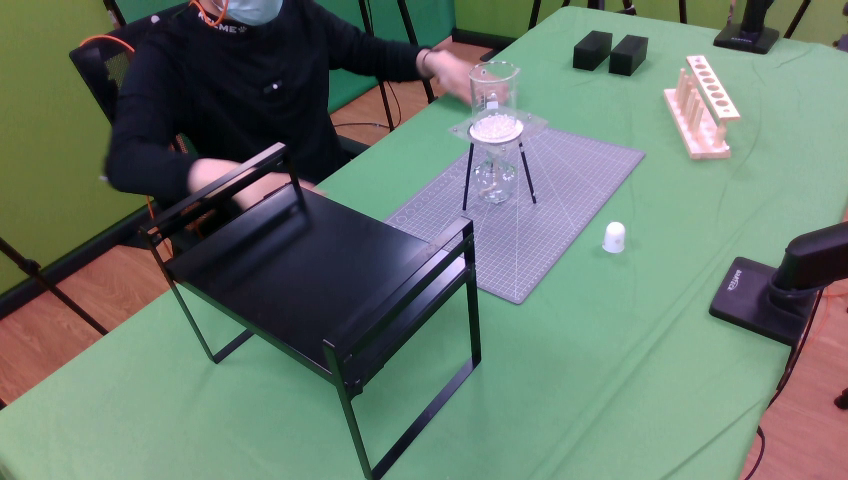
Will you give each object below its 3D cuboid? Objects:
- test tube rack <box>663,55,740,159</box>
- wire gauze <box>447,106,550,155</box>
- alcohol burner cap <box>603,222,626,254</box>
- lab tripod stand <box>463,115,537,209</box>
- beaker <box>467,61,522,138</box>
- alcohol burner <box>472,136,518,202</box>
[{"bbox_3d":[0.518,-0.256,1.144,0.066,0.085,0.241,-1,41,8],"label":"test tube rack"},{"bbox_3d":[0.119,-0.182,0.974,0.122,0.011,0.124,-32,42,-29],"label":"wire gauze"},{"bbox_3d":[0.291,-0.006,0.921,0.034,0.048,0.033,-4,40,4],"label":"alcohol burner cap"},{"bbox_3d":[0.120,-0.134,1.018,0.148,0.132,0.147,-5,40,5],"label":"lab tripod stand"},{"bbox_3d":[0.112,-0.217,0.941,0.084,0.101,0.073,-13,39,-7],"label":"beaker"},{"bbox_3d":[0.121,-0.124,1.023,0.078,0.119,0.077,-3,42,3],"label":"alcohol burner"}]
